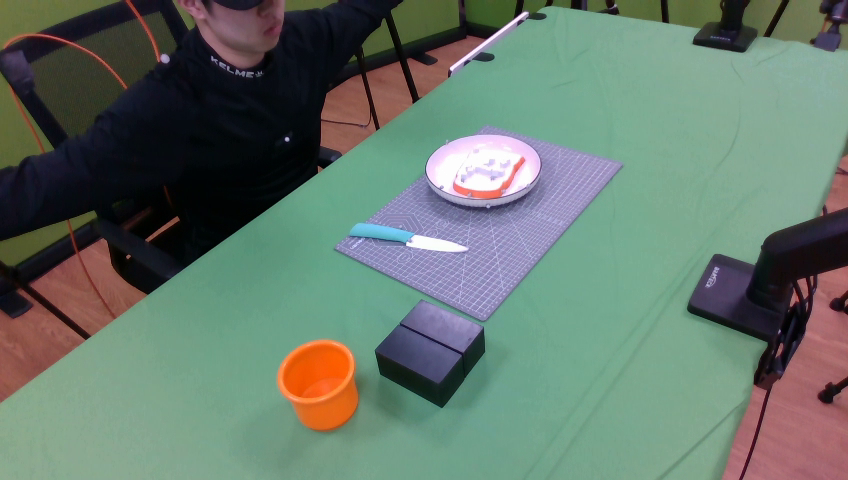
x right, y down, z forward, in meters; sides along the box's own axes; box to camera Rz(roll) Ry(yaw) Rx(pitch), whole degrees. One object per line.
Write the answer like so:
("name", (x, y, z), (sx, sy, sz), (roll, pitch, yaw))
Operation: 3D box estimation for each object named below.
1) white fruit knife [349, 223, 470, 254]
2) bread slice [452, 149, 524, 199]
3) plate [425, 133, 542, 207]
("white fruit knife", (-0.025, -0.001, 0.977), (0.206, 0.016, 0.027), (11, 73, 17))
("bread slice", (0.111, -0.119, 1.078), (0.104, 0.019, 0.131), (12, 43, 21))
("plate", (0.106, -0.121, 1.079), (0.209, 0.038, 0.208), (-4, 41, 4))
